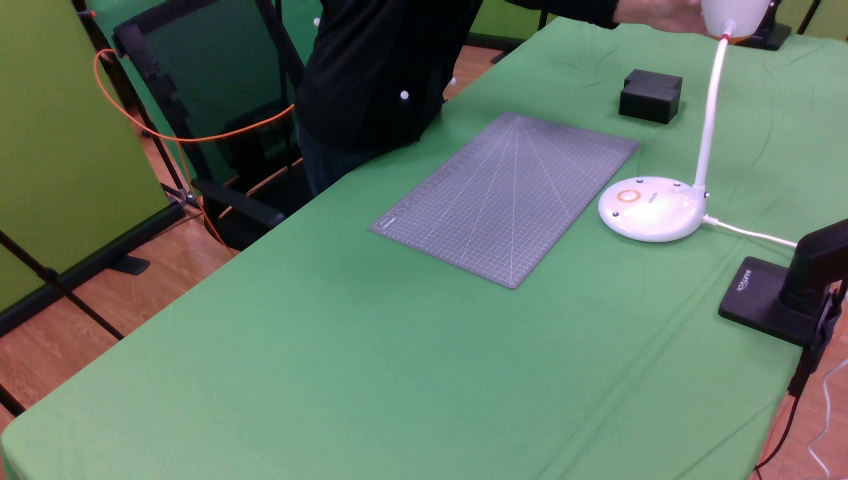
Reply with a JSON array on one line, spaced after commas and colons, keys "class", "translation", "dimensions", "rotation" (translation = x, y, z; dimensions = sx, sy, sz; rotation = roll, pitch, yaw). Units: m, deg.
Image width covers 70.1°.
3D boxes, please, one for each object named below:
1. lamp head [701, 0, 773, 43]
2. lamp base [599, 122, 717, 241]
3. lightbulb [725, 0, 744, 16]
[{"class": "lamp head", "translation": [0.473, -0.363, 0.917], "dimensions": [0.112, 0.123, 0.112], "rotation": [-6, 33, 5]}, {"class": "lamp base", "translation": [0.367, -0.109, 0.919], "dimensions": [0.178, 0.181, 0.160], "rotation": [13, 45, 20]}, {"class": "lightbulb", "translation": [0.468, -0.391, 0.905], "dimensions": [0.059, 0.108, 0.059], "rotation": [-10, 35, 8]}]
